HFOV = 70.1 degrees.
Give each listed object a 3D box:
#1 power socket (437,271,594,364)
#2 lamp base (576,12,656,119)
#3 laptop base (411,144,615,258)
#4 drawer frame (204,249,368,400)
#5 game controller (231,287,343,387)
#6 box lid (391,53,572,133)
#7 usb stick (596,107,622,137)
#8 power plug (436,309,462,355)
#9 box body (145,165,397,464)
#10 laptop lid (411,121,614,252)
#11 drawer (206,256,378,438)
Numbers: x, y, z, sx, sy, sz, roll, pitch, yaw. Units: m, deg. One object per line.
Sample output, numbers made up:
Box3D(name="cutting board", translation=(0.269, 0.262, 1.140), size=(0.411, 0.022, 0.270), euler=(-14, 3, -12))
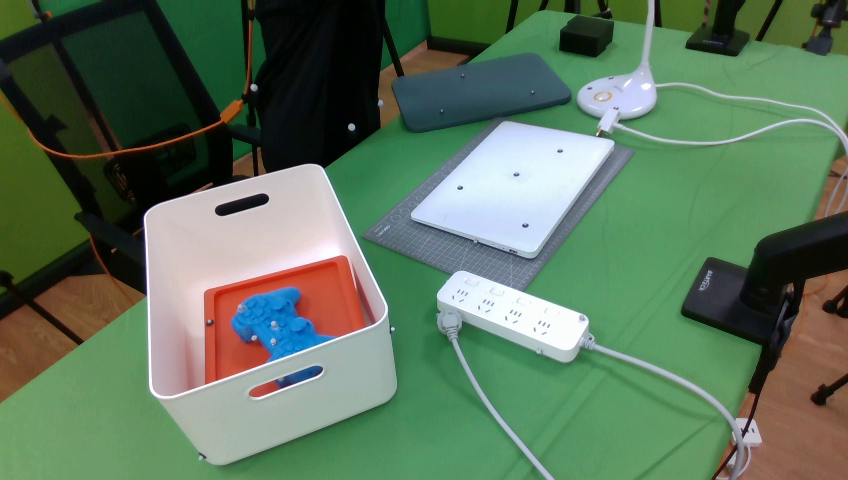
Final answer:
Box3D(name="power socket", translation=(0.118, 0.102, 0.830), size=(0.225, 0.033, 0.072), euler=(20, 48, 28))
Box3D(name="lamp base", translation=(0.404, -0.360, 1.218), size=(0.180, 0.181, 0.159), euler=(-24, 43, -23))
Box3D(name="laptop base", translation=(0.167, -0.102, 1.074), size=(0.234, 0.023, 0.355), euler=(16, 45, 30))
Box3D(name="drawer frame", translation=(-0.174, 0.129, 0.790), size=(0.202, 0.083, 0.212), euler=(-16, 45, -8))
Box3D(name="game controller", translation=(-0.167, 0.110, 0.734), size=(0.097, 0.052, 0.154), euler=(-35, 47, -22))
Box3D(name="box lid", translation=(0.122, -0.339, 1.366), size=(0.372, 0.015, 0.261), euler=(-12, 40, -5))
Box3D(name="usb stick", translation=(0.355, -0.223, 1.168), size=(0.027, 0.059, 0.022), euler=(37, 14, 34))
Box3D(name="power plug", translation=(0.032, 0.126, 0.809), size=(0.035, 0.053, 0.072), euler=(3, 59, 7))
Box3D(name="box body", translation=(-0.205, 0.080, 0.802), size=(0.255, 0.161, 0.361), euler=(-18, 41, -13))
Box3D(name="laptop lid", translation=(0.164, -0.112, 1.068), size=(0.240, 0.013, 0.357), euler=(19, 46, 30))
Box3D(name="drawer", translation=(-0.177, 0.130, 0.787), size=(0.195, 0.073, 0.210), euler=(-14, 39, -9))
